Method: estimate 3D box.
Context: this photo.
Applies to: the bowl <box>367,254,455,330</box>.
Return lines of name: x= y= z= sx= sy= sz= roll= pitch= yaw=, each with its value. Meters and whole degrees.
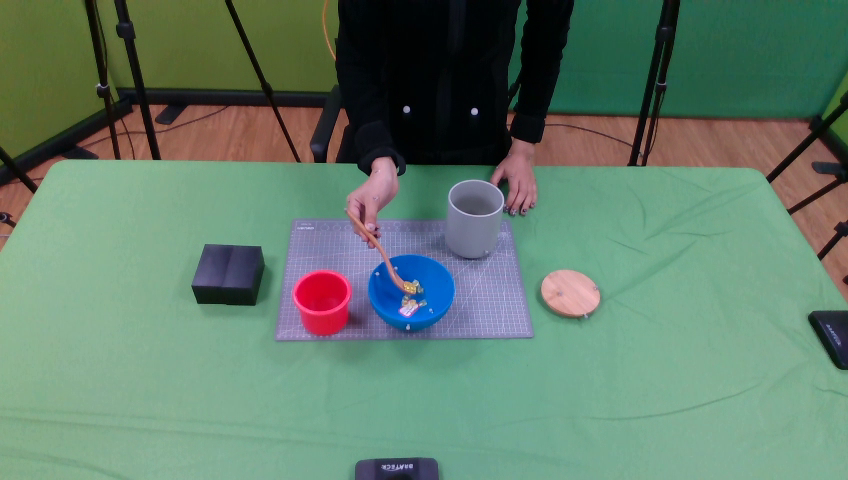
bowl: x=-0.023 y=0.104 z=1.053 sx=0.151 sy=0.077 sz=0.150 roll=2 pitch=46 yaw=-2

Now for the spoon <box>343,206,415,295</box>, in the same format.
spoon: x=-0.076 y=0.019 z=1.036 sx=0.021 sy=0.194 sz=0.041 roll=-32 pitch=11 yaw=10

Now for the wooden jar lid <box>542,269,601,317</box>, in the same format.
wooden jar lid: x=0.272 y=0.100 z=1.121 sx=0.108 sy=0.021 sz=0.107 roll=3 pitch=47 yaw=-3

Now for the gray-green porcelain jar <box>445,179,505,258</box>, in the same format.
gray-green porcelain jar: x=0.095 y=-0.037 z=1.162 sx=0.106 sy=0.127 sz=0.105 roll=2 pitch=46 yaw=-2
